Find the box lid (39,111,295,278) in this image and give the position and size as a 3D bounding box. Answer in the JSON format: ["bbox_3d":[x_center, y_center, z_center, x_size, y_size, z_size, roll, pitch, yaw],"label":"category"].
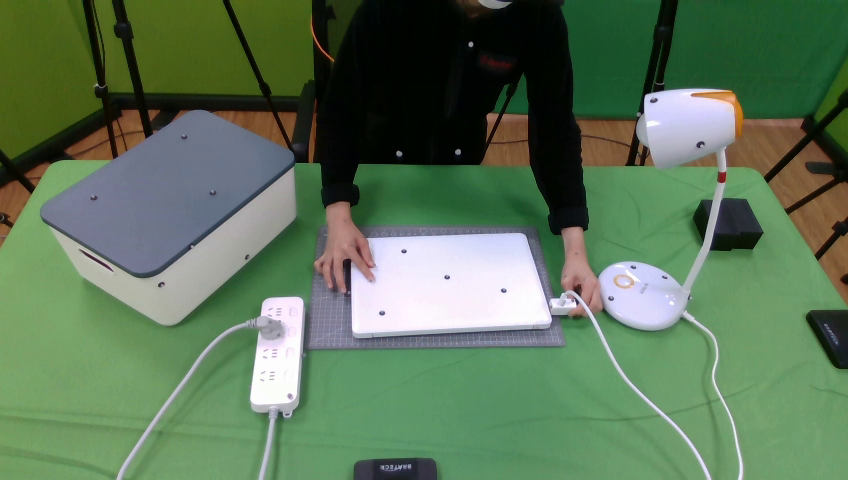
[{"bbox_3d":[-0.434,-0.097,1.055,0.262,0.015,0.370,25,49,18],"label":"box lid"}]

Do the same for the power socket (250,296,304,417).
[{"bbox_3d":[-0.239,0.182,0.996,0.072,0.033,0.225,-2,47,-5],"label":"power socket"}]

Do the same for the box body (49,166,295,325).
[{"bbox_3d":[-0.437,-0.046,1.110,0.253,0.161,0.363,24,49,18],"label":"box body"}]

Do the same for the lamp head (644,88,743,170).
[{"bbox_3d":[0.380,-0.160,0.851,0.122,0.113,0.112,-4,42,25],"label":"lamp head"}]

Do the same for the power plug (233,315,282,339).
[{"bbox_3d":[-0.271,0.144,1.000,0.072,0.053,0.035,6,46,4],"label":"power plug"}]

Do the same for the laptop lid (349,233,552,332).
[{"bbox_3d":[0.041,0.071,1.119,0.357,0.013,0.240,-1,44,-5],"label":"laptop lid"}]

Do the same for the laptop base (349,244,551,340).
[{"bbox_3d":[0.040,0.081,1.126,0.355,0.023,0.234,-2,43,-6],"label":"laptop base"}]

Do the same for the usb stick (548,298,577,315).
[{"bbox_3d":[0.242,0.119,1.087,0.059,0.027,0.021,-3,51,-2],"label":"usb stick"}]

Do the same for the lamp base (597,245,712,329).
[{"bbox_3d":[0.418,0.051,1.072,0.179,0.181,0.160,22,49,13],"label":"lamp base"}]
